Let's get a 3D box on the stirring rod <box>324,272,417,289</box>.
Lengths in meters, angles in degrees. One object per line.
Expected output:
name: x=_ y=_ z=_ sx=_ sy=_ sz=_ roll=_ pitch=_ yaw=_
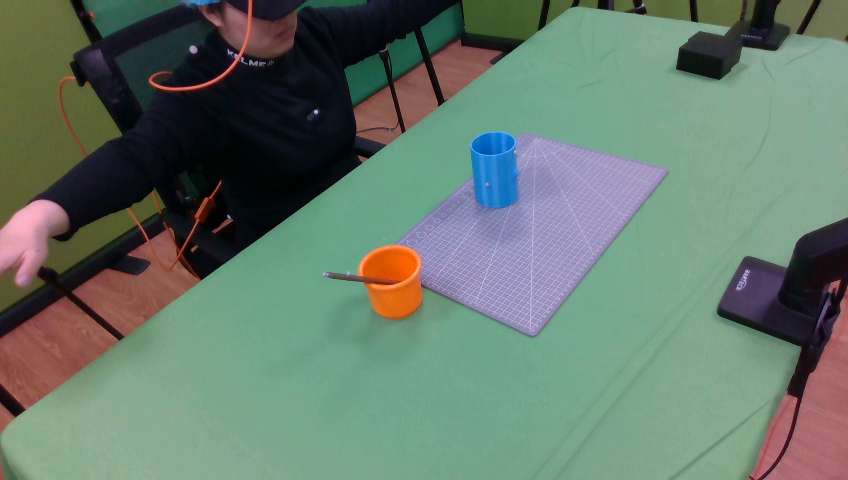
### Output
stirring rod: x=-0.069 y=0.057 z=0.840 sx=0.014 sy=0.006 sz=0.178 roll=27 pitch=9 yaw=39

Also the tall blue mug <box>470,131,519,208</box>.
tall blue mug: x=0.122 y=-0.129 z=1.042 sx=0.078 sy=0.108 sz=0.106 roll=-7 pitch=40 yaw=5
